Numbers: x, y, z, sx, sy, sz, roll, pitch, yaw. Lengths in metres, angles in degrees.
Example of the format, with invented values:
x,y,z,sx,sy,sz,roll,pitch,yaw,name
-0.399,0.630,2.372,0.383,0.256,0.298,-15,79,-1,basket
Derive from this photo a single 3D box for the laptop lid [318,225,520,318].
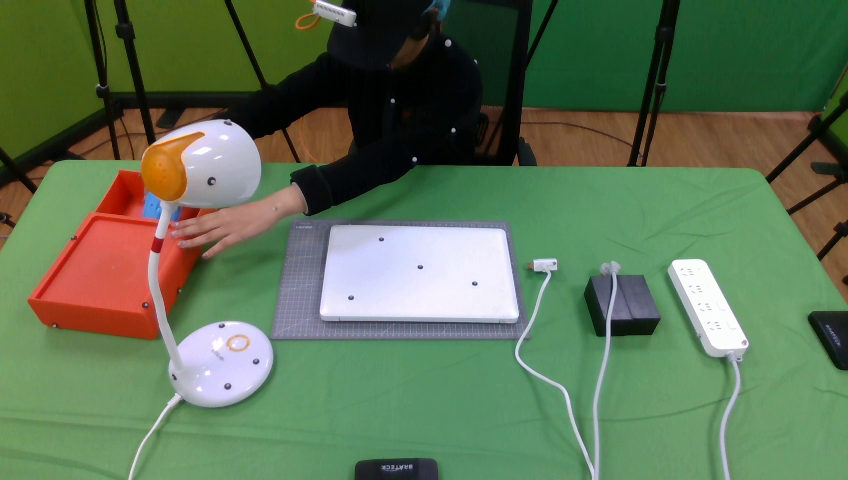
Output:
x,y,z,sx,sy,sz,roll,pitch,yaw,name
-0.009,0.052,1.131,0.357,0.013,0.240,2,43,-2,laptop lid

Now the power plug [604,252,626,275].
x,y,z,sx,sy,sz,roll,pitch,yaw,name
0.366,0.040,1.130,0.035,0.072,0.052,40,56,-10,power plug

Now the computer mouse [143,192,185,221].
x,y,z,sx,sy,sz,roll,pitch,yaw,name
-0.495,-0.062,1.157,0.063,0.041,0.116,11,67,-2,computer mouse

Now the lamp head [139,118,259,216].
x,y,z,sx,sy,sz,roll,pitch,yaw,name
-0.282,-0.086,0.734,0.112,0.113,0.123,21,25,16,lamp head

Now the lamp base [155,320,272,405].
x,y,z,sx,sy,sz,roll,pitch,yaw,name
-0.330,0.149,0.918,0.160,0.181,0.179,26,52,20,lamp base

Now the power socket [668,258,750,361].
x,y,z,sx,sy,sz,roll,pitch,yaw,name
0.517,0.118,1.109,0.072,0.033,0.225,-2,46,-4,power socket

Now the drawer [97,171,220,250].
x,y,z,sx,sy,sz,roll,pitch,yaw,name
-0.517,-0.034,1.156,0.194,0.073,0.210,6,47,0,drawer

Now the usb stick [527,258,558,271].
x,y,z,sx,sy,sz,roll,pitch,yaw,name
0.226,0.046,1.158,0.059,0.021,0.027,-3,8,10,usb stick

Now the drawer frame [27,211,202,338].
x,y,z,sx,sy,sz,roll,pitch,yaw,name
-0.529,0.056,1.063,0.202,0.083,0.212,7,46,1,drawer frame

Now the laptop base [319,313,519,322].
x,y,z,sx,sy,sz,roll,pitch,yaw,name
-0.009,0.062,1.137,0.354,0.023,0.234,1,42,-3,laptop base
